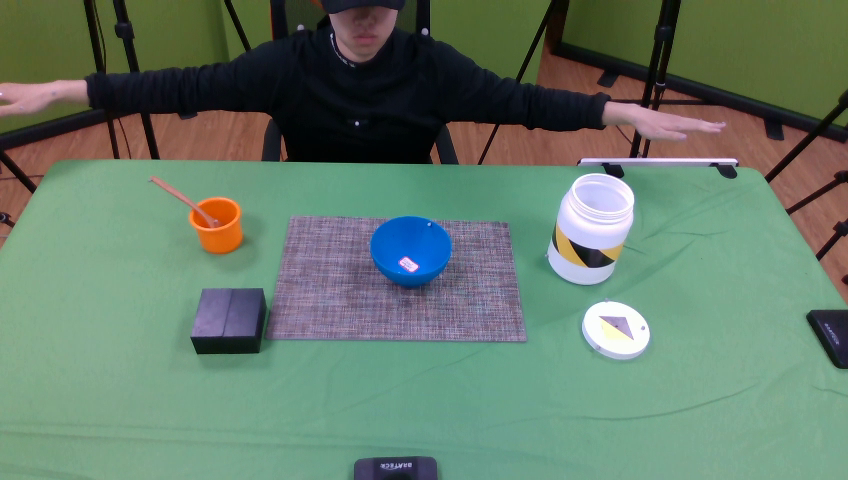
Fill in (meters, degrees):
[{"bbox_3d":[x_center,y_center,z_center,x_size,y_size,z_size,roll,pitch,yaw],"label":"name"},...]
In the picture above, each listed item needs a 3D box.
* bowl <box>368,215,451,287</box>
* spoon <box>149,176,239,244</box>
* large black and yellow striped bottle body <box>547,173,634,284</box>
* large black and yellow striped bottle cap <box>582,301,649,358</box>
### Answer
[{"bbox_3d":[-0.028,0.033,1.119,0.151,0.077,0.150,2,46,-2],"label":"bowl"},{"bbox_3d":[-0.427,-0.057,1.132,0.021,0.195,0.041,-28,30,33],"label":"spoon"},{"bbox_3d":[0.309,-0.022,1.129,0.131,0.185,0.130,2,46,-2],"label":"large black and yellow striped bottle body"},{"bbox_3d":[0.340,0.157,1.077,0.115,0.019,0.114,1,47,-1],"label":"large black and yellow striped bottle cap"}]
